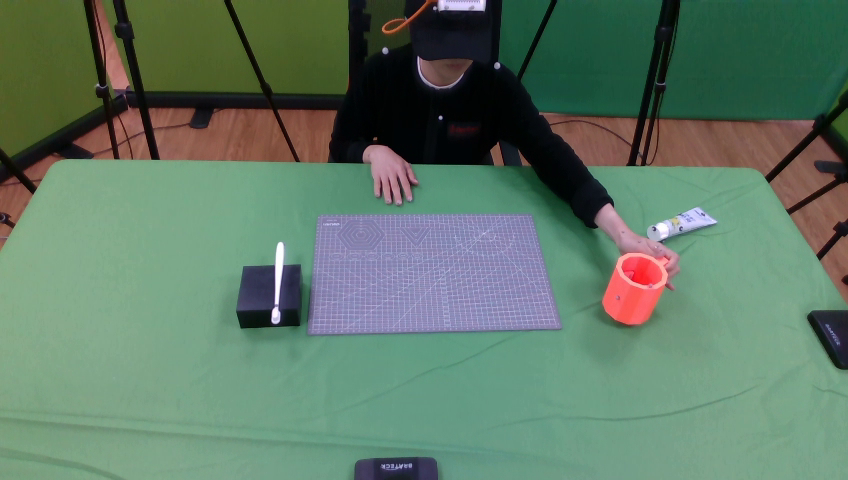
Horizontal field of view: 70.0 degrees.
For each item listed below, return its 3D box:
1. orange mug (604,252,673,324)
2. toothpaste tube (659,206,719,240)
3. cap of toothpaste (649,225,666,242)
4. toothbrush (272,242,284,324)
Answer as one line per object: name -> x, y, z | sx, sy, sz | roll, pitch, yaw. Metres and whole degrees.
orange mug -> 0.385, 0.076, 1.064 | 0.126, 0.101, 0.083 | -27, 52, -22
toothpaste tube -> 0.542, -0.035, 1.259 | 0.165, 0.034, 0.054 | -19, 54, -26
cap of toothpaste -> 0.473, -0.015, 1.226 | 0.011, 0.037, 0.037 | -20, 51, -26
toothbrush -> -0.253, 0.068, 1.048 | 0.014, 0.017, 0.180 | -5, 46, -4
